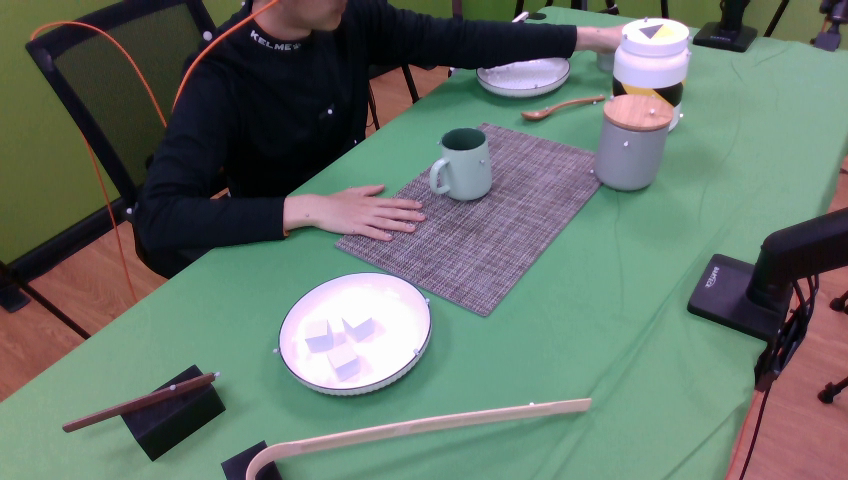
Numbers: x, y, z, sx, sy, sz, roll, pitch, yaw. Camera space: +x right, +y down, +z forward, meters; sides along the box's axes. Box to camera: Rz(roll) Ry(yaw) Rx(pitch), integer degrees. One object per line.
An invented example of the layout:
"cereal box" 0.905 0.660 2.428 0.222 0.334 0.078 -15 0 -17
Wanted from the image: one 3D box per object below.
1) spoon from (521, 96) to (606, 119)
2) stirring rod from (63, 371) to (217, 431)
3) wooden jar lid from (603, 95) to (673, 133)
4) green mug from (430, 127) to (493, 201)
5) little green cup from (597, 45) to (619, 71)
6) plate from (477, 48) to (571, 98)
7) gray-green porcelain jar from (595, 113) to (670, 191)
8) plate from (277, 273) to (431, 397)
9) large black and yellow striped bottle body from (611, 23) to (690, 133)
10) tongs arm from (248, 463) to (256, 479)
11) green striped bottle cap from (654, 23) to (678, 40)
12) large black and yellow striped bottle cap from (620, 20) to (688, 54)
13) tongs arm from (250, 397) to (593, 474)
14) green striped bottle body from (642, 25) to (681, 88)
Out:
"spoon" 0.291 -0.277 1.249 0.194 0.022 0.041 -18 24 -11
"stirring rod" -0.337 0.192 0.723 0.177 0.014 0.005 -18 43 -12
"wooden jar lid" 0.343 -0.200 0.974 0.108 0.021 0.108 -2 39 2
"green mug" 0.059 -0.122 1.034 0.126 0.105 0.091 -35 48 -28
"little green cup" 0.423 -0.413 1.376 0.061 0.039 0.061 -4 41 4
"plate" 0.223 -0.371 1.357 0.209 0.038 0.208 -4 41 4
"gray-green porcelain jar" 0.346 -0.155 1.017 0.106 0.127 0.105 -2 44 2
"plate" -0.092 0.129 0.821 0.207 0.039 0.206 -4 40 4
"large black and yellow striped bottle body" 0.420 -0.299 1.132 0.131 0.185 0.130 -5 40 4
"tongs arm" 0.012 0.262 0.615 0.385 0.026 0.050 2 42 -2
"green striped bottle cap" 0.496 -0.426 1.238 0.044 0.020 0.044 -5 42 5
"large black and yellow striped bottle cap" 0.411 -0.363 1.080 0.115 0.019 0.114 -3 42 4
"tongs arm" 0.008 0.212 0.675 0.389 0.028 0.028 -5 46 -11
"green striped bottle body" 0.500 -0.387 1.271 0.063 0.120 0.063 -3 40 3
